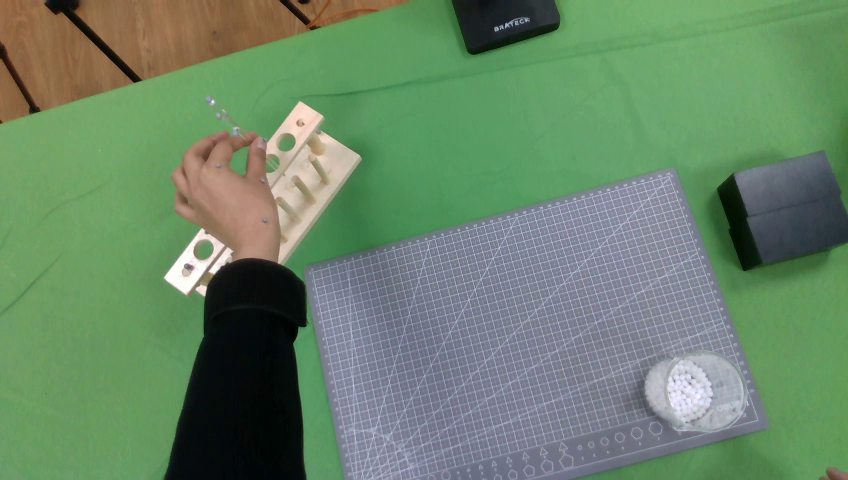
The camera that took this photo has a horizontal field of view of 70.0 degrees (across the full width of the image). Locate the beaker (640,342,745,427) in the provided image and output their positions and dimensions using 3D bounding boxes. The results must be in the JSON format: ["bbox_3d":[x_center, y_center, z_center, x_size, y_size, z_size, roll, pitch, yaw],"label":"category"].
[{"bbox_3d":[0.259,0.147,0.602,0.073,0.101,0.084,37,84,13],"label":"beaker"}]

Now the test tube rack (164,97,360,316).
[{"bbox_3d":[-0.178,-0.035,0.694,0.066,0.085,0.242,34,83,13],"label":"test tube rack"}]

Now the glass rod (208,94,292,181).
[{"bbox_3d":[-0.178,-0.102,0.639,0.008,0.201,0.008,-2,74,8],"label":"glass rod"}]
